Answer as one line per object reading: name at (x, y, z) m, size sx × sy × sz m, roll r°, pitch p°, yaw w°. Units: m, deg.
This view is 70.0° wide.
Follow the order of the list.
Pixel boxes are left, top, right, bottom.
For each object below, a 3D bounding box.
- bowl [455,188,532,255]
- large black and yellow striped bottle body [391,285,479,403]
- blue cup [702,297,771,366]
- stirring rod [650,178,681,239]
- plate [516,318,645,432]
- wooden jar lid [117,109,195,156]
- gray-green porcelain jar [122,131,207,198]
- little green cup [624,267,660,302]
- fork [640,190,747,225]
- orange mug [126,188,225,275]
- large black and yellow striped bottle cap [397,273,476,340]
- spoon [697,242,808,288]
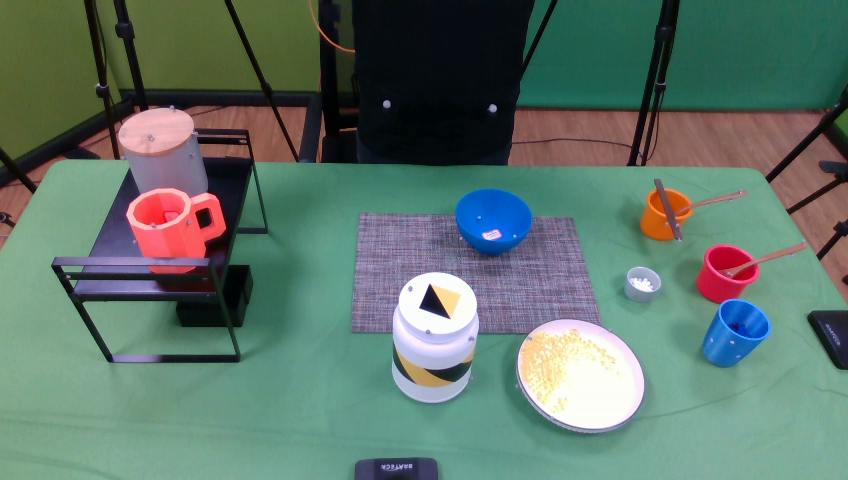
bowl at (0.131, -0.025, 1.186) m, size 0.151 × 0.077 × 0.150 m, roll 3°, pitch 46°, yaw -2°
large black and yellow striped bottle body at (0.015, 0.153, 0.938) m, size 0.131 × 0.185 × 0.130 m, roll 2°, pitch 46°, yaw -2°
blue cup at (0.519, 0.162, 1.025) m, size 0.093 × 0.101 × 0.092 m, roll 3°, pitch 45°, yaw -3°
stirring rod at (0.479, -0.065, 1.204) m, size 0.014 × 0.006 × 0.175 m, roll 3°, pitch 46°, yaw -4°
plate at (0.253, 0.221, 0.992) m, size 0.209 × 0.038 × 0.208 m, roll 2°, pitch 46°, yaw -2°
wooden jar lid at (-0.400, -0.159, 0.910) m, size 0.108 × 0.021 × 0.107 m, roll 2°, pitch 47°, yaw -2°
gray-green porcelain jar at (-0.404, -0.115, 0.955) m, size 0.106 × 0.127 × 0.105 m, roll 3°, pitch 46°, yaw -3°
little green cup at (0.405, 0.084, 1.135) m, size 0.061 × 0.039 × 0.061 m, roll 3°, pitch 45°, yaw -3°
fork at (0.533, -0.065, 1.211) m, size 0.207 × 0.019 × 0.028 m, roll -22°, pitch 28°, yaw 39°
orange mug at (-0.357, -0.020, 0.885) m, size 0.126 × 0.101 × 0.083 m, roll -29°, pitch 54°, yaw -23°
large black and yellow striped bottle cap at (0.018, 0.094, 0.878) m, size 0.115 × 0.019 × 0.114 m, roll 3°, pitch 46°, yaw -3°
spoon at (0.601, 0.045, 1.116) m, size 0.194 × 0.022 × 0.041 m, roll -29°, pitch 34°, yaw 30°
